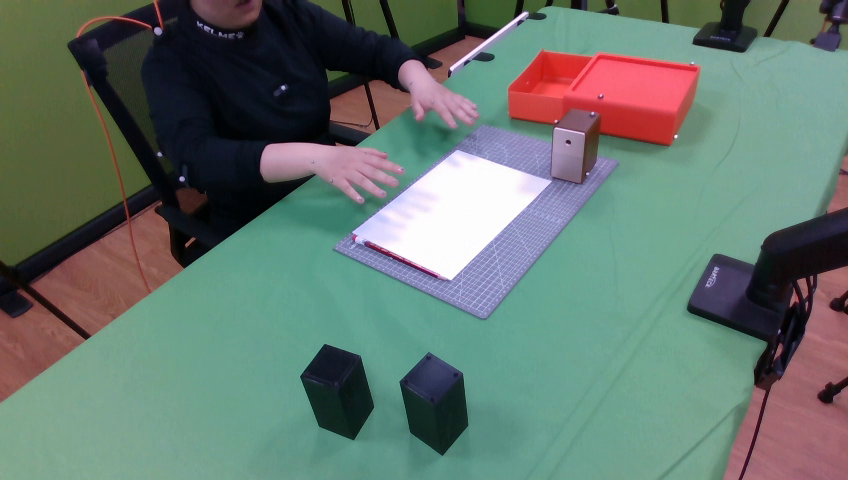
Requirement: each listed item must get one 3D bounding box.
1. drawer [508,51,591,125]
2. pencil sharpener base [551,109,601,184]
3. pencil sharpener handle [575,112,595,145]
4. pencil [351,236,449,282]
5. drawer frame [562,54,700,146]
[{"bbox_3d":[0.304,-0.309,1.246,0.210,0.073,0.195,16,45,25],"label":"drawer"},{"bbox_3d":[0.265,-0.164,1.053,0.061,0.107,0.077,17,46,27],"label":"pencil sharpener base"},{"bbox_3d":[0.290,-0.203,1.077,0.036,0.068,0.031,20,47,25],"label":"pencil sharpener handle"},{"bbox_3d":[-0.041,0.029,0.946,0.192,0.012,0.012,23,49,29],"label":"pencil"},{"bbox_3d":[0.406,-0.282,1.195,0.212,0.083,0.202,17,45,25],"label":"drawer frame"}]
